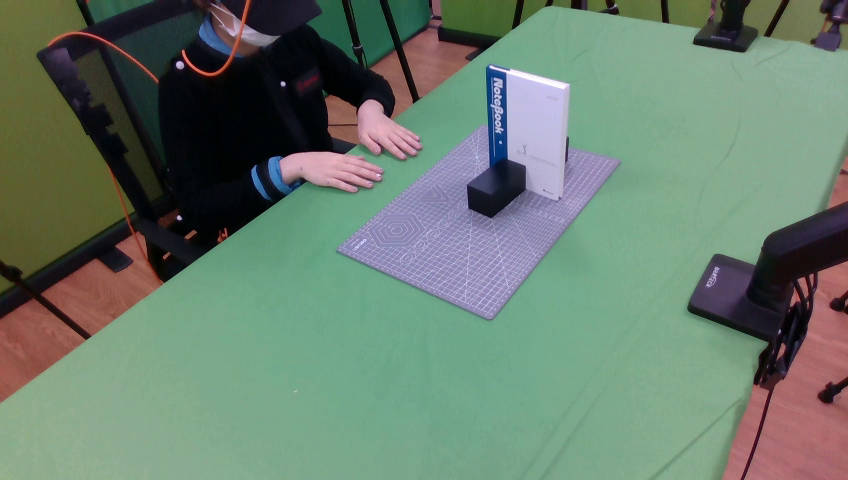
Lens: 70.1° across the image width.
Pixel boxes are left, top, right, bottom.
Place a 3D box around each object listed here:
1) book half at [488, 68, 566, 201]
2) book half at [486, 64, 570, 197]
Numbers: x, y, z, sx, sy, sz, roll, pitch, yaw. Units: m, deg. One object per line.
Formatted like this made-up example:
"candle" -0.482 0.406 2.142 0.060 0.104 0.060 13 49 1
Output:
"book half" 0.167 -0.171 0.995 0.142 0.211 0.007 27 52 34
"book half" 0.170 -0.176 1.000 0.147 0.211 0.016 26 51 33
